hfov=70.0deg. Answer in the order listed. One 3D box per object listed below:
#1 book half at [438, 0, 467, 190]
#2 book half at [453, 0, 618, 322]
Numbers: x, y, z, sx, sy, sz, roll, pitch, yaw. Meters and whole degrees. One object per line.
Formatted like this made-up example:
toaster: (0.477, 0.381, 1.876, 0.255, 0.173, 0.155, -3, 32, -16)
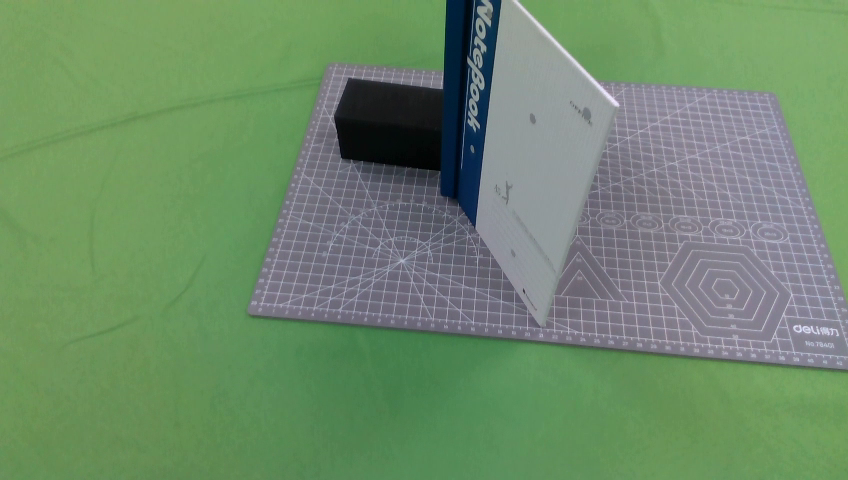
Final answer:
book half: (0.039, -0.160, 0.475, 0.016, 0.212, 0.147, 13, 55, 9)
book half: (0.057, -0.052, 0.398, 0.007, 0.212, 0.141, -21, 57, -16)
